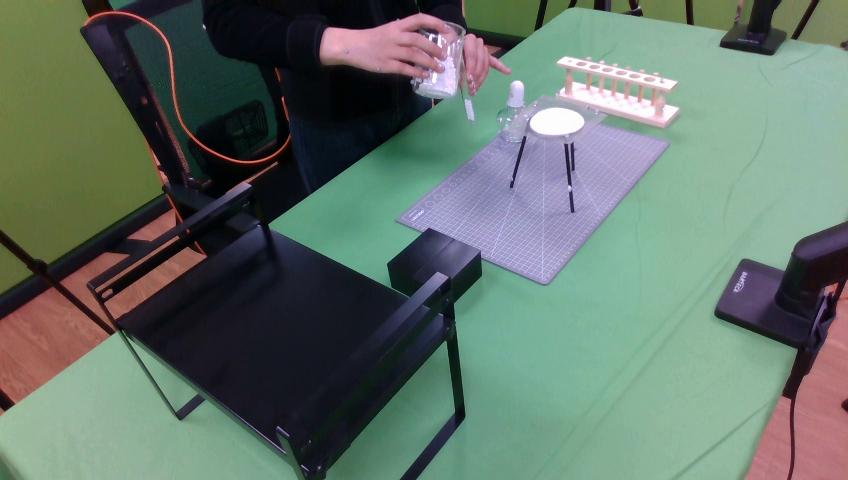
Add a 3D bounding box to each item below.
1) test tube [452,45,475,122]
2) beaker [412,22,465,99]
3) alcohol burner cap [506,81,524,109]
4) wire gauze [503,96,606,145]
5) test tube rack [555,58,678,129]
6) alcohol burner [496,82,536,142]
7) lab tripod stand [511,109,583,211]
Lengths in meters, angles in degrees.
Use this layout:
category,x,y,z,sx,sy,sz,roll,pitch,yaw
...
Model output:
category,x,y,z,sx,sy,sz,roll,pitch,yaw
test tube,0.069,-0.264,1.032,0.017,0.151,0.017,-9,48,10
beaker,0.022,-0.272,0.928,0.073,0.100,0.084,8,3,19
alcohol burner cap,0.173,-0.277,1.145,0.034,0.048,0.033,1,40,-1
wire gauze,0.211,-0.192,0.975,0.120,0.011,0.125,24,49,32
test tube rack,0.390,-0.307,1.229,0.240,0.085,0.067,26,50,33
alcohol burner,0.178,-0.250,1.168,0.078,0.119,0.077,-5,42,5
lab tripod stand,0.220,-0.138,1.014,0.148,0.132,0.147,-3,41,3
